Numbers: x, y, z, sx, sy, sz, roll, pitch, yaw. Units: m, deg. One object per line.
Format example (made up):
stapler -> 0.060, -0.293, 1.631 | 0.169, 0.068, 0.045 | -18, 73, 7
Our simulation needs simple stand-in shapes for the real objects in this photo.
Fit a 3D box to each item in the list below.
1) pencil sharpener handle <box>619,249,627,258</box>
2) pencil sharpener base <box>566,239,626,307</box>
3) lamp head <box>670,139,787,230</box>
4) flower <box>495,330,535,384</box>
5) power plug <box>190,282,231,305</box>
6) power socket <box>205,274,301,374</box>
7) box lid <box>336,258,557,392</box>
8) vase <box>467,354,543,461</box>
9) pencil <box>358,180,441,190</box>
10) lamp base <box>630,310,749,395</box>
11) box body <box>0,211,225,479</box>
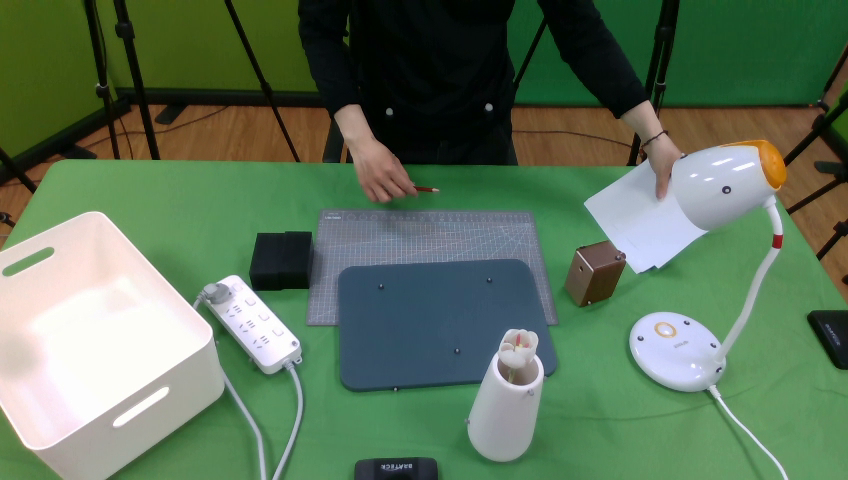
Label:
pencil sharpener handle -> 0.359, 0.036, 1.112 | 0.031, 0.068, 0.036 | -15, 61, -18
pencil sharpener base -> 0.313, 0.060, 1.104 | 0.077, 0.107, 0.061 | -15, 49, -18
lamp head -> 0.415, -0.079, 0.812 | 0.113, 0.123, 0.112 | 12, 70, -37
flower -> 0.111, 0.187, 0.791 | 0.044, 0.363, 0.038 | -32, 65, -10
power plug -> -0.368, 0.098, 1.039 | 0.072, 0.053, 0.035 | -26, 55, -20
power socket -> -0.296, 0.140, 1.035 | 0.072, 0.033, 0.225 | -32, 57, -29
box lid -> 0.030, 0.140, 1.073 | 0.372, 0.015, 0.261 | -3, 47, -7
vase -> 0.116, 0.234, 0.861 | 0.098, 0.201, 0.097 | 1, 47, -1
pencil -> -0.051, -0.110, 1.224 | 0.193, 0.012, 0.012 | 8, 44, 28
lamp base -> 0.447, 0.143, 0.984 | 0.161, 0.181, 0.178 | -24, 55, -24
box body -> -0.504, 0.154, 0.916 | 0.362, 0.161, 0.254 | 36, 54, 27
